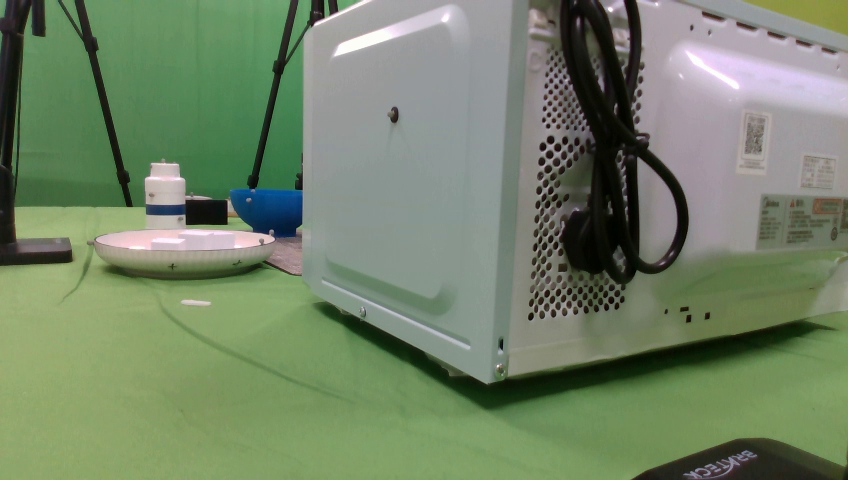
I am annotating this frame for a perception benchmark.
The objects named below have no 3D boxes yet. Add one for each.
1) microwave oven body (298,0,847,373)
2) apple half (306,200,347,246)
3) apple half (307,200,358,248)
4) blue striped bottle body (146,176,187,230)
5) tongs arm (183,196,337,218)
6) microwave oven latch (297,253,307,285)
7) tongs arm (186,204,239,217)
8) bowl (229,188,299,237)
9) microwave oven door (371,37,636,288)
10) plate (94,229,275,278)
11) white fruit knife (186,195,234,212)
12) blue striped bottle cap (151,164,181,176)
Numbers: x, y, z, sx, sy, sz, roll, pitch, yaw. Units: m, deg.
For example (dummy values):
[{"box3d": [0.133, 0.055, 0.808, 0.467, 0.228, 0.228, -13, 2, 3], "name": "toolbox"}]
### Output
[{"box3d": [0.151, -0.055, 0.543, 0.444, 0.260, 0.324, -1, 7, -33], "name": "microwave oven body"}, {"box3d": [-0.162, -0.029, 0.965, 0.032, 0.081, 0.082, 13, 13, 43], "name": "apple half"}, {"box3d": [-0.135, -0.023, 0.939, 0.053, 0.074, 0.081, 16, 11, 43], "name": "apple half"}, {"box3d": [-0.430, -0.065, 1.010, 0.063, 0.120, 0.063, 2, 7, 0], "name": "blue striped bottle body"}, {"box3d": [-0.404, -0.081, 1.479, 0.385, 0.026, 0.050, 3, 8, -2], "name": "tongs arm"}, {"box3d": [-0.082, 0.027, 0.582, 0.079, 0.029, 0.030, -1, 7, -33], "name": "microwave oven latch"}, {"box3d": [-0.396, -0.067, 1.399, 0.389, 0.028, 0.028, 1, 5, -15], "name": "tongs arm"}, {"box3d": [-0.265, -0.048, 1.066, 0.151, 0.077, 0.151, 3, 8, 0], "name": "bowl"}, {"box3d": [0.109, -0.080, 0.686, 0.358, 0.243, 0.039, -2, 9, -33], "name": "microwave oven door"}, {"box3d": [-0.291, 0.016, 0.750, 0.208, 0.039, 0.207, 2, 7, 0], "name": "plate"}, {"box3d": [-0.401, -0.072, 1.275, 0.208, 0.027, 0.016, 10, 0, -35], "name": "white fruit knife"}, {"box3d": [-0.428, -0.116, 1.002, 0.044, 0.020, 0.044, 1, 6, 0], "name": "blue striped bottle cap"}]
